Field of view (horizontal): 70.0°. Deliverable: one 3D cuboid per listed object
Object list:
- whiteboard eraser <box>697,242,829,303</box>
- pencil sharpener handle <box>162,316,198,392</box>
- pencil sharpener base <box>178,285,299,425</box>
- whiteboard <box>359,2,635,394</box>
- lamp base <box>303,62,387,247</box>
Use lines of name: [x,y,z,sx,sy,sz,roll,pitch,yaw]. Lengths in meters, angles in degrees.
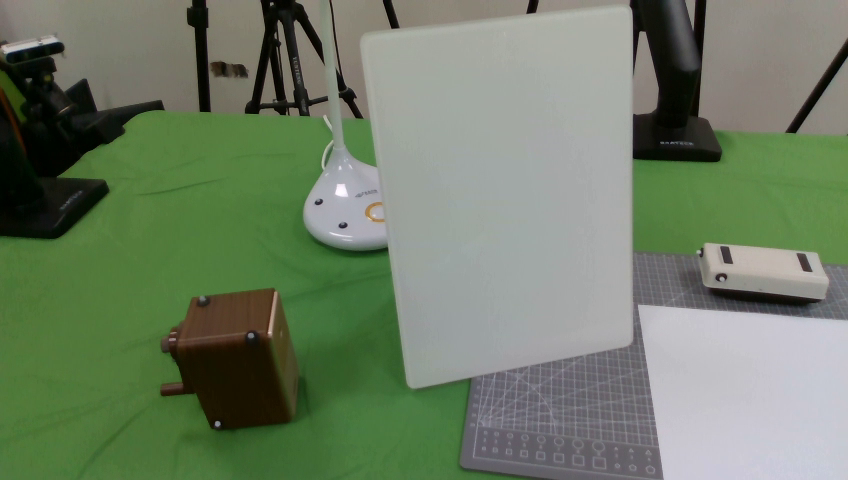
whiteboard eraser: [0.340,0.033,0.615,0.112,0.042,0.055,6,39,12]
pencil sharpener handle: [-0.204,0.095,0.494,0.031,0.068,0.035,-6,25,-3]
pencil sharpener base: [-0.153,0.098,0.507,0.077,0.108,0.060,-6,38,-3]
whiteboard: [0.064,-0.044,0.568,0.217,0.307,0.143,-9,18,-7]
lamp base: [-0.082,-0.109,0.718,0.161,0.182,0.177,-27,41,-29]
